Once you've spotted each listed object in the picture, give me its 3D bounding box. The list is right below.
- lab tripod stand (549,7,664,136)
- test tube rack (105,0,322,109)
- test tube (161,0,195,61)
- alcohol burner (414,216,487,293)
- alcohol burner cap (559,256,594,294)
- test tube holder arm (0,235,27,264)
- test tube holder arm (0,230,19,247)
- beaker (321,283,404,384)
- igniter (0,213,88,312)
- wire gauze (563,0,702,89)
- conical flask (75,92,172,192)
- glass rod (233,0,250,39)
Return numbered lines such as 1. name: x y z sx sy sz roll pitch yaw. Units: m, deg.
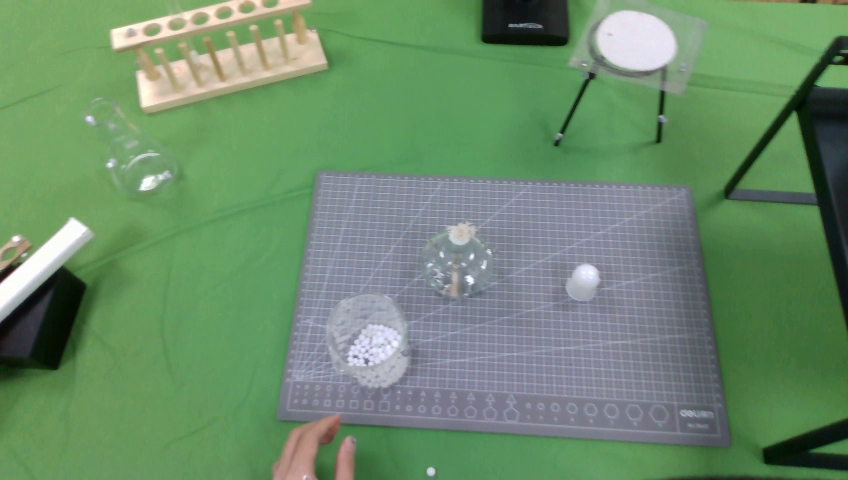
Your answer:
1. lab tripod stand: 0.221 -0.192 0.713 0.148 0.132 0.147 1 63 -1
2. test tube rack: -0.261 -0.249 0.773 0.242 0.086 0.066 -17 65 -7
3. test tube: -0.303 -0.275 0.731 0.017 0.151 0.017 2 61 -3
4. alcohol burner: 0.028 0.009 0.626 0.078 0.120 0.077 1 63 -1
5. alcohol burner cap: 0.166 0.035 0.652 0.034 0.048 0.033 0 64 1
6. test tube holder arm: -0.449 0.029 0.622 0.010 0.015 0.087 47 70 -12
7. test tube holder arm: -0.481 0.057 0.605 0.013 0.015 0.178 46 70 -12
8. beaker: -0.058 0.099 0.591 0.073 0.101 0.083 31 68 15
9. igniter: -0.449 0.080 0.595 0.057 0.025 0.276 29 67 24
10. wire gauze: 0.227 -0.223 0.653 0.121 0.011 0.124 23 67 9
11. conical flask: -0.345 -0.115 0.688 0.075 0.123 0.074 0 63 1
12. glass rod: -0.237 -0.310 0.728 0.008 0.201 0.008 -3 57 6
